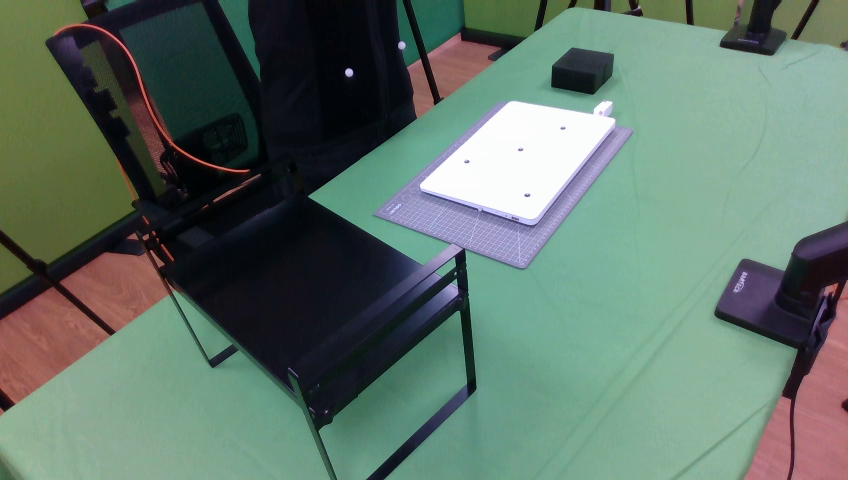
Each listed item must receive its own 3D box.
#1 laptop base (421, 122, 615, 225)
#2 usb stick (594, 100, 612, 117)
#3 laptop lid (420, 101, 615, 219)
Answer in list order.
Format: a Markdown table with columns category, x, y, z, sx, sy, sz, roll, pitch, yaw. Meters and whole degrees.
| category | x | y | z | sx | sy | sz | roll | pitch | yaw |
| --- | --- | --- | --- | --- | --- | --- | --- | --- | --- |
| laptop base | 0.184 | -0.156 | 1.132 | 0.234 | 0.023 | 0.355 | 18 | 46 | 31 |
| usb stick | 0.353 | -0.254 | 1.204 | 0.021 | 0.027 | 0.059 | 21 | 47 | 30 |
| laptop lid | 0.180 | -0.166 | 1.125 | 0.240 | 0.013 | 0.357 | 20 | 47 | 31 |
